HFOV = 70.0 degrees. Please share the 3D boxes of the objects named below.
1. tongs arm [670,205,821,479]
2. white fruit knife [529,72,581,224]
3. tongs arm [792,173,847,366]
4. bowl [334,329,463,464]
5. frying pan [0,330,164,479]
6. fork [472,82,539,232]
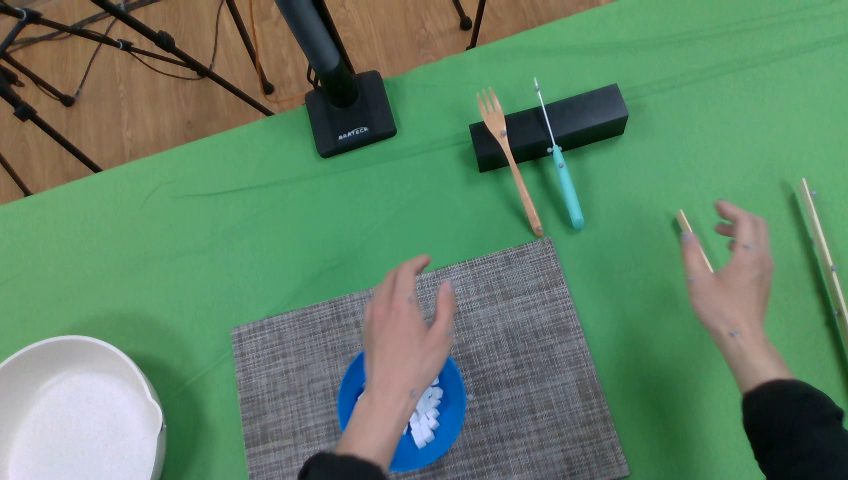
[{"bbox_3d":[0.382,0.126,0.706,0.028,0.028,0.384,-21,70,1],"label":"tongs arm"},{"bbox_3d":[0.167,-0.120,0.787,0.016,0.027,0.207,-18,87,10],"label":"white fruit knife"},{"bbox_3d":[0.460,0.105,0.694,0.051,0.027,0.382,-10,72,8],"label":"tongs arm"},{"bbox_3d":[-0.024,0.187,0.721,0.151,0.077,0.150,-3,72,8],"label":"bowl"},{"bbox_3d":[-0.437,0.351,0.725,0.307,0.104,0.483,-18,62,4],"label":"frying pan"},{"bbox_3d":[0.110,-0.108,0.793,0.028,0.018,0.207,-22,90,0],"label":"fork"}]
